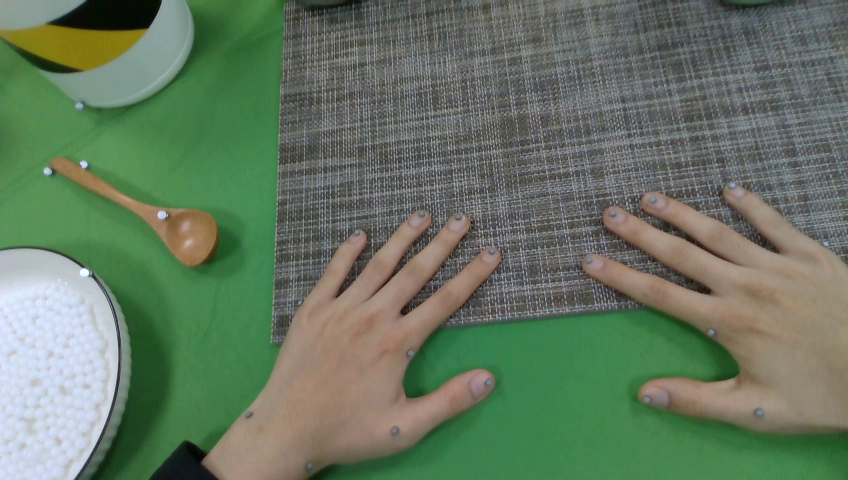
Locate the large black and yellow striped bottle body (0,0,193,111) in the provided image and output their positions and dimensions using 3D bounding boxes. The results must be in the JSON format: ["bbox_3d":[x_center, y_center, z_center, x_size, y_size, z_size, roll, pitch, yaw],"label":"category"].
[{"bbox_3d":[-0.280,-0.199,0.459,0.130,0.185,0.130,-3,68,9],"label":"large black and yellow striped bottle body"}]

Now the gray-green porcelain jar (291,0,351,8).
[{"bbox_3d":[-0.090,-0.260,0.478,0.106,0.127,0.105,-4,64,9],"label":"gray-green porcelain jar"}]

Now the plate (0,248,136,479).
[{"bbox_3d":[-0.294,0.108,0.424,0.209,0.038,0.207,-3,68,9],"label":"plate"}]

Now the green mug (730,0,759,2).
[{"bbox_3d":[0.250,-0.234,0.416,0.125,0.106,0.092,-8,67,7],"label":"green mug"}]

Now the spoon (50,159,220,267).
[{"bbox_3d":[-0.230,-0.030,0.473,0.192,0.022,0.041,25,94,18],"label":"spoon"}]
